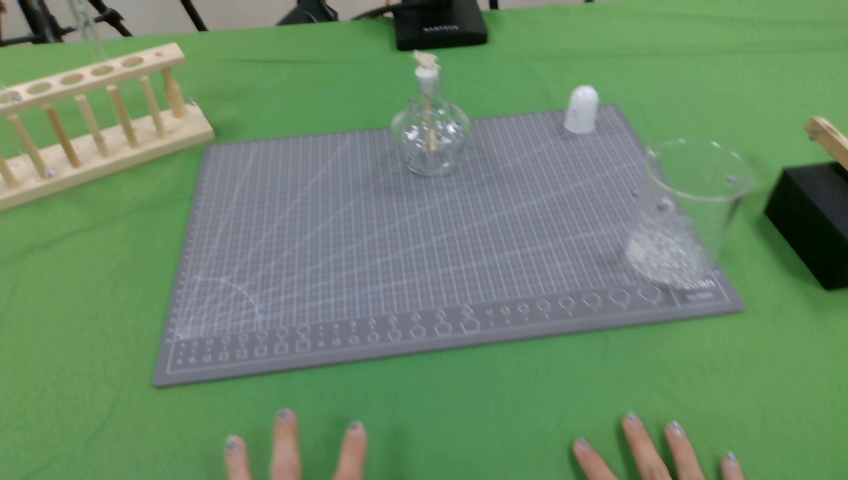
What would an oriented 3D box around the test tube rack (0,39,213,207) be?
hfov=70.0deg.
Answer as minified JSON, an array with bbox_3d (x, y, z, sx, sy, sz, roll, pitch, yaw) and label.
[{"bbox_3d":[-0.349,-0.115,0.602,0.243,0.086,0.066,-24,50,-20],"label":"test tube rack"}]

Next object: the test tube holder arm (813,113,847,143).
[{"bbox_3d":[0.366,-0.049,0.487,0.013,0.015,0.176,-3,45,-13],"label":"test tube holder arm"}]

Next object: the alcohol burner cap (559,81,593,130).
[{"bbox_3d":[0.161,-0.143,0.636,0.034,0.048,0.033,-1,46,1],"label":"alcohol burner cap"}]

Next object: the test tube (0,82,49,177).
[{"bbox_3d":[-0.378,-0.119,0.544,0.017,0.152,0.017,-1,43,1],"label":"test tube"}]

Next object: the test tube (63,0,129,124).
[{"bbox_3d":[-0.322,-0.179,0.594,0.017,0.151,0.017,-1,43,1],"label":"test tube"}]

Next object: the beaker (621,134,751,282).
[{"bbox_3d":[0.196,-0.023,0.476,0.074,0.101,0.083,-29,50,-23],"label":"beaker"}]

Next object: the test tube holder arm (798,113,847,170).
[{"bbox_3d":[0.351,-0.080,0.517,0.010,0.015,0.087,-3,45,-13],"label":"test tube holder arm"}]

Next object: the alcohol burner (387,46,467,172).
[{"bbox_3d":[0.002,-0.125,0.574,0.078,0.120,0.077,-2,44,3],"label":"alcohol burner"}]
